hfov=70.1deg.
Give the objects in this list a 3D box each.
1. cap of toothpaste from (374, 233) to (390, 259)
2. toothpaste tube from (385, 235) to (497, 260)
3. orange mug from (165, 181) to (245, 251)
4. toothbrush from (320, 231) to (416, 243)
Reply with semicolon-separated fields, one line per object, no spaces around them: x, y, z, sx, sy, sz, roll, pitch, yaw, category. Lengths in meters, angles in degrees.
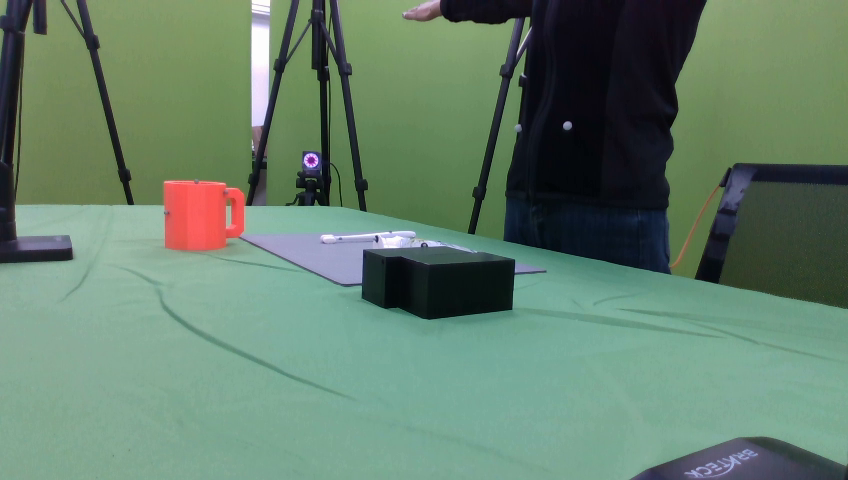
-0.058;0.008;0.825;0.011;0.037;0.037;-4;9;-30;cap of toothpaste
0.019;0.014;0.852;0.166;0.034;0.055;4;13;-20;toothpaste tube
-0.326;-0.040;0.911;0.083;0.101;0.127;8;14;37;orange mug
-0.089;-0.006;1.025;0.183;0.014;0.016;-3;12;-34;toothbrush
